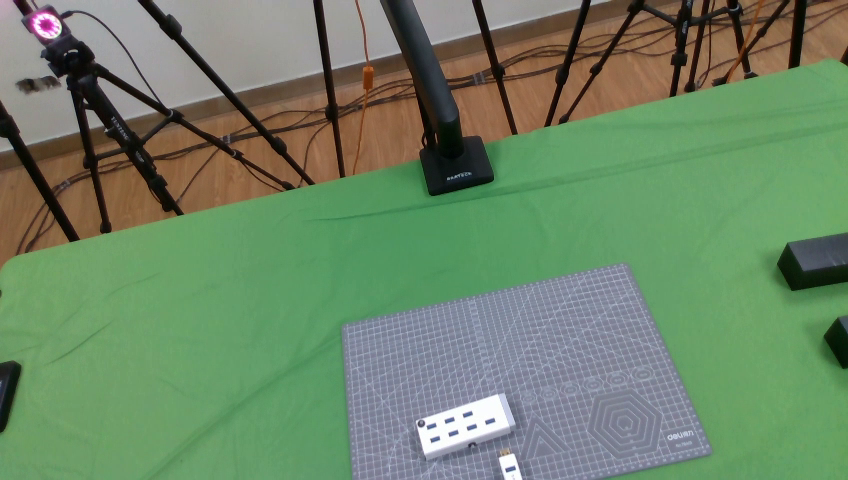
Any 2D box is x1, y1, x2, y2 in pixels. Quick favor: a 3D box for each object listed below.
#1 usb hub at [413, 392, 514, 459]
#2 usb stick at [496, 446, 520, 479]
[{"bbox_3d":[0.051,0.243,0.799,0.125,0.025,0.049,-17,52,-3],"label":"usb hub"},{"bbox_3d":[0.105,0.285,0.756,0.021,0.027,0.058,-19,49,2],"label":"usb stick"}]
